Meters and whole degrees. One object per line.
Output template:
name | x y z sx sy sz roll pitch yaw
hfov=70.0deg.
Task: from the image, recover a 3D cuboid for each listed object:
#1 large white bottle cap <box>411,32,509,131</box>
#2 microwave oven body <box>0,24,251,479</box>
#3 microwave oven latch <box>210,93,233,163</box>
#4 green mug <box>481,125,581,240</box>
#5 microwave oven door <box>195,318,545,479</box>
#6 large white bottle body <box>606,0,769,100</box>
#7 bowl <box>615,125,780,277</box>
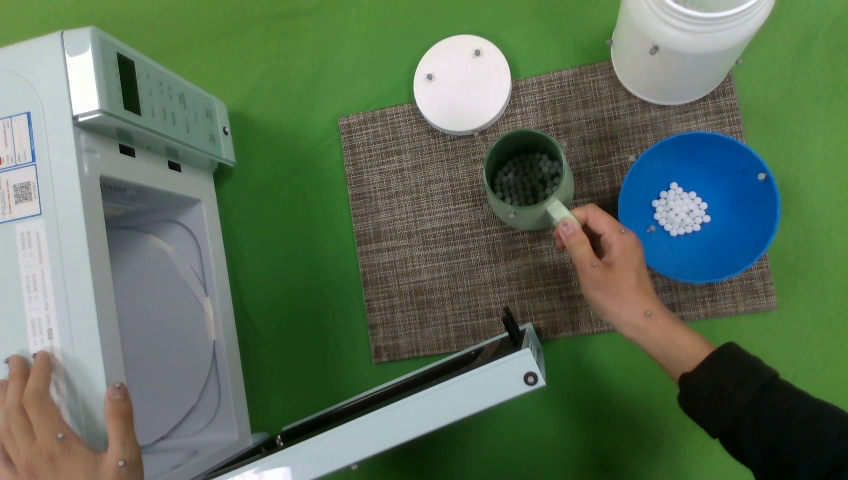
large white bottle cap | 0.042 -0.185 0.706 0.114 0.018 0.114 -1 86 10
microwave oven body | -0.384 0.061 0.647 0.326 0.261 0.440 -11 86 9
microwave oven latch | -0.254 -0.135 0.732 0.030 0.029 0.079 -12 86 9
green mug | 0.114 -0.051 0.616 0.092 0.105 0.124 -41 76 5
microwave oven door | -0.054 0.169 0.580 0.356 0.244 0.039 -25 82 8
large white bottle body | 0.251 -0.227 0.586 0.130 0.185 0.130 -1 83 11
bowl | 0.272 -0.036 0.628 0.151 0.077 0.151 -1 87 11
